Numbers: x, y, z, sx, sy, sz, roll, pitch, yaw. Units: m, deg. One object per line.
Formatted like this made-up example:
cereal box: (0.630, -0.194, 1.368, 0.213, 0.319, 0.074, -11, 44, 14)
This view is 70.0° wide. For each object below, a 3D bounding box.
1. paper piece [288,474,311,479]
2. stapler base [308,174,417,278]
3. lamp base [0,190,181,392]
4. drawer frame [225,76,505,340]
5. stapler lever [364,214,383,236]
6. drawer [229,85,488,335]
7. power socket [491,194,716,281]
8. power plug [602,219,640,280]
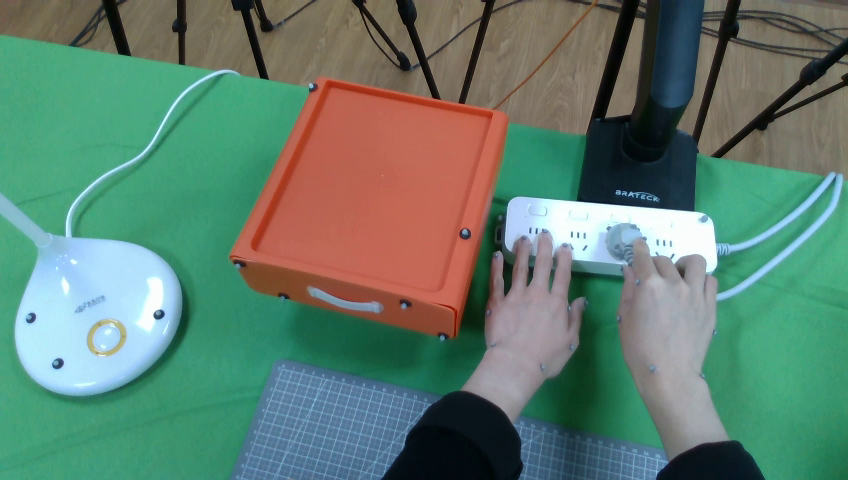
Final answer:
paper piece: (-0.068, 0.274, 0.491, 0.135, 0.009, 0.137, 10, 63, 10)
stapler base: (-0.063, -0.017, 0.580, 0.129, 0.024, 0.041, 41, 86, 23)
lamp base: (-0.333, 0.026, 0.537, 0.160, 0.182, 0.177, -39, 64, -18)
drawer frame: (-0.045, -0.037, 0.570, 0.201, 0.083, 0.212, 12, 61, 9)
stapler lever: (-0.072, -0.026, 0.556, 0.117, 0.040, 0.027, 41, 86, 25)
drawer: (-0.044, -0.034, 0.569, 0.194, 0.074, 0.210, 12, 62, 9)
power socket: (0.184, -0.003, 0.624, 0.226, 0.033, 0.071, 6, 62, 5)
power plug: (0.188, 0.012, 0.589, 0.035, 0.053, 0.072, 16, 63, 9)
